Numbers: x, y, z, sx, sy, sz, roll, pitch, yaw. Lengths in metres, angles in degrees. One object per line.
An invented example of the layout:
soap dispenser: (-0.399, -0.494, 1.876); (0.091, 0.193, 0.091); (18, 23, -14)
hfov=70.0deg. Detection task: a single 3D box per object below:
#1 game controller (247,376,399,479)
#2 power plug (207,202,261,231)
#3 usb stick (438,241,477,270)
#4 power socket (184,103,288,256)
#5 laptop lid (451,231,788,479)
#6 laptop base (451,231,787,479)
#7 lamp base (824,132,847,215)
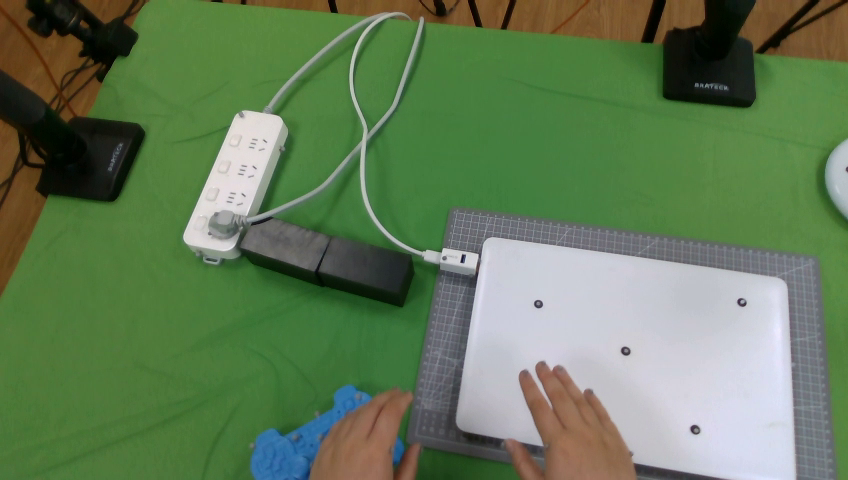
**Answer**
game controller: (-0.114, 0.214, 0.653); (0.155, 0.052, 0.096); (-27, 64, -9)
power plug: (-0.235, -0.022, 0.750); (0.072, 0.053, 0.035); (22, 69, 10)
usb stick: (0.047, 0.020, 0.730); (0.059, 0.027, 0.021); (13, 64, 4)
power socket: (-0.245, -0.087, 0.800); (0.072, 0.033, 0.225); (12, 67, 7)
laptop lid: (0.221, 0.119, 0.678); (0.356, 0.013, 0.240); (10, 69, 8)
laptop base: (0.222, 0.122, 0.690); (0.354, 0.023, 0.234); (9, 70, 7)
lamp base: (0.587, -0.115, 0.687); (0.159, 0.181, 0.179); (41, 72, 19)
